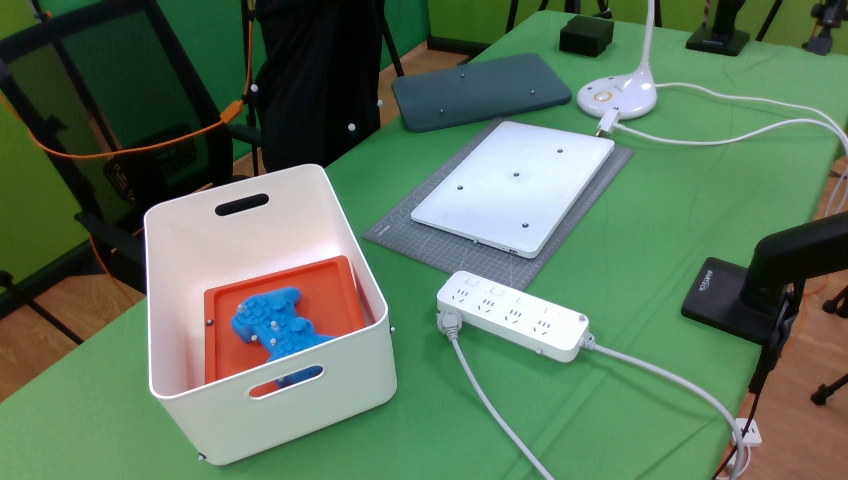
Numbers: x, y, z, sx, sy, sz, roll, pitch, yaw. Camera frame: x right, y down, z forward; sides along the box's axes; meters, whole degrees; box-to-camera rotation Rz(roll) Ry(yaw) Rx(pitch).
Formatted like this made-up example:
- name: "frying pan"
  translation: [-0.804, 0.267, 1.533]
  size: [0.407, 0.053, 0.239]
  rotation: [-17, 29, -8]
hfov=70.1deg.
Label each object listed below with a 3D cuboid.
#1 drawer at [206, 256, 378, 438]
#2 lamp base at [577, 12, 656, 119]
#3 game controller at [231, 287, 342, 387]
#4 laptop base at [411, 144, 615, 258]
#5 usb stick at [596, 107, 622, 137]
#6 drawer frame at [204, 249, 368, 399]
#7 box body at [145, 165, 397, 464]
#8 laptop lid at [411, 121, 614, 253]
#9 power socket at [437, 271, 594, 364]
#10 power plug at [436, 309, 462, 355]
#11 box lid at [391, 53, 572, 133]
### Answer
- name: "drawer"
  translation: [-0.177, 0.130, 0.787]
  size: [0.195, 0.073, 0.210]
  rotation: [-14, 39, -9]
- name: "lamp base"
  translation: [0.404, -0.360, 1.218]
  size: [0.180, 0.181, 0.159]
  rotation: [-24, 43, -23]
- name: "game controller"
  translation: [-0.167, 0.110, 0.734]
  size: [0.097, 0.052, 0.154]
  rotation: [-34, 47, -22]
- name: "laptop base"
  translation: [0.167, -0.102, 1.074]
  size: [0.234, 0.023, 0.355]
  rotation: [16, 45, 30]
- name: "usb stick"
  translation: [0.355, -0.223, 1.168]
  size: [0.027, 0.059, 0.022]
  rotation: [37, 14, 34]
- name: "drawer frame"
  translation: [-0.174, 0.129, 0.791]
  size: [0.202, 0.083, 0.212]
  rotation: [-16, 45, -8]
- name: "box body"
  translation: [-0.205, 0.080, 0.802]
  size: [0.255, 0.161, 0.361]
  rotation: [-18, 41, -13]
- name: "laptop lid"
  translation: [0.164, -0.112, 1.068]
  size: [0.240, 0.013, 0.357]
  rotation: [19, 46, 30]
- name: "power socket"
  translation: [0.118, 0.102, 0.830]
  size: [0.225, 0.033, 0.072]
  rotation: [20, 48, 28]
- name: "power plug"
  translation: [0.032, 0.126, 0.809]
  size: [0.035, 0.053, 0.072]
  rotation: [3, 59, 7]
- name: "box lid"
  translation: [0.122, -0.339, 1.366]
  size: [0.372, 0.015, 0.261]
  rotation: [-12, 40, -5]
